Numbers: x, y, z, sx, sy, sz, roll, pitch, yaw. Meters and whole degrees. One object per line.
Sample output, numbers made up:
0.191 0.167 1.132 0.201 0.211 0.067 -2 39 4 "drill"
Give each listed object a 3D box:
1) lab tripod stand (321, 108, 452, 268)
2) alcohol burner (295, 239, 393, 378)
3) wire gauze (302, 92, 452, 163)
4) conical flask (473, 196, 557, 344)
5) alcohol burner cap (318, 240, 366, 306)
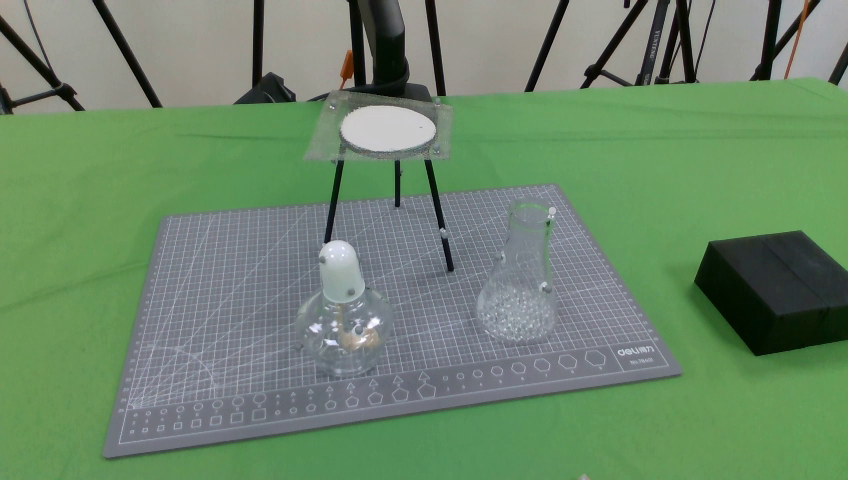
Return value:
-0.031 -0.048 0.585 0.148 0.132 0.147 3 37 -2 "lab tripod stand"
-0.063 0.050 0.474 0.078 0.120 0.077 1 36 0 "alcohol burner"
-0.036 -0.101 0.544 0.121 0.011 0.124 4 38 1 "wire gauze"
0.082 0.023 0.508 0.075 0.123 0.074 1 38 -1 "conical flask"
-0.062 0.022 0.450 0.034 0.048 0.033 -3 42 3 "alcohol burner cap"
